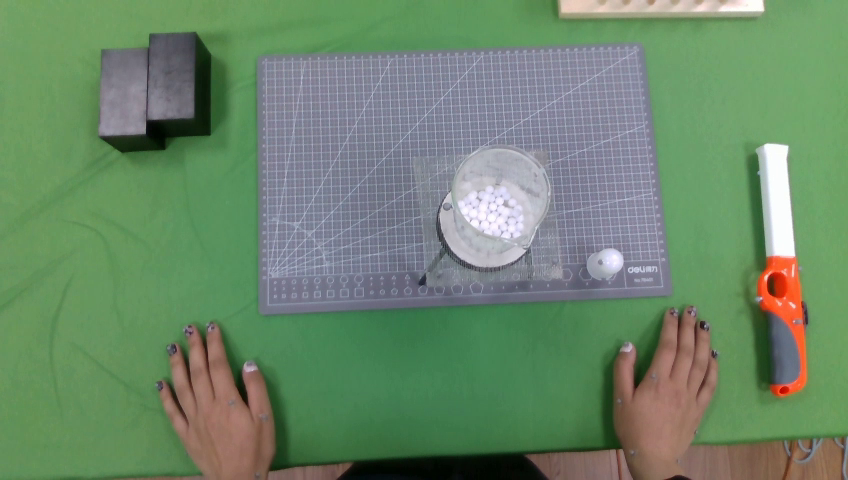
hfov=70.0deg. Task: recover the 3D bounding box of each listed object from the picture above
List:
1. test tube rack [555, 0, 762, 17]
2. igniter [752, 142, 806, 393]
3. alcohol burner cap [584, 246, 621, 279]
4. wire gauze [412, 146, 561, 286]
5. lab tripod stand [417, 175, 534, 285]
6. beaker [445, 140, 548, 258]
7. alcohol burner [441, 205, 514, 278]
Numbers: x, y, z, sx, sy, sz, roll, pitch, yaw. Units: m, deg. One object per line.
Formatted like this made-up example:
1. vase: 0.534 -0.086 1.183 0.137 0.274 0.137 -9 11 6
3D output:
1. test tube rack: 0.278 -0.308 0.689 0.242 0.085 0.066 -1 80 -1
2. igniter: 0.386 0.027 0.663 0.057 0.025 0.275 3 80 -10
3. alcohol burner cap: 0.194 0.023 0.649 0.034 0.048 0.033 0 79 0
4. wire gauze: 0.055 -0.022 0.541 0.125 0.011 0.121 -5 78 0
5. lab tripod stand: 0.051 -0.007 0.605 0.148 0.132 0.147 0 79 1
6. beaker: 0.056 -0.025 0.492 0.074 0.100 0.083 -25 80 -4
7. alcohol burner: 0.056 -0.002 0.614 0.078 0.119 0.077 0 78 -2
